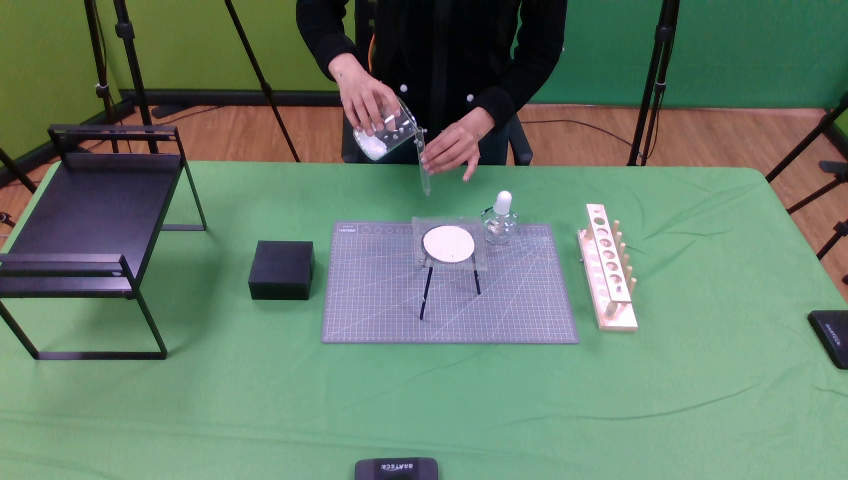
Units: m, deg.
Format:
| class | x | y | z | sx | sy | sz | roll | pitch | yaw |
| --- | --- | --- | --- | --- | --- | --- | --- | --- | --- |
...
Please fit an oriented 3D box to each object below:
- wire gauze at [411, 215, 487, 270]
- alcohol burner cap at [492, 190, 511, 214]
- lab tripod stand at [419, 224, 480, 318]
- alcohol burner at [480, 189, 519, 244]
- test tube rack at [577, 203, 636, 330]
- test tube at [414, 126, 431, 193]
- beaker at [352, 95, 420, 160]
| class | x | y | z | sx | sy | sz | roll | pitch | yaw |
| --- | --- | --- | --- | --- | --- | --- | --- | --- | --- |
| wire gauze | 0.041 | 0.002 | 1.026 | 0.125 | 0.011 | 0.120 | 1 | 46 | -3 |
| alcohol burner cap | 0.151 | -0.076 | 1.166 | 0.034 | 0.048 | 0.033 | 5 | 52 | -6 |
| lab tripod stand | 0.034 | 0.052 | 1.070 | 0.148 | 0.132 | 0.147 | 3 | 48 | -3 |
| alcohol burner | 0.150 | -0.051 | 1.191 | 0.078 | 0.120 | 0.077 | 1 | 46 | -1 |
| test tube rack | 0.348 | 0.045 | 1.139 | 0.067 | 0.085 | 0.241 | 2 | 46 | -2 |
| test tube | -0.003 | -0.147 | 1.130 | 0.017 | 0.151 | 0.017 | -4 | 45 | 5 |
| beaker | -0.067 | -0.191 | 1.052 | 0.100 | 0.084 | 0.073 | -33 | 54 | 11 |
